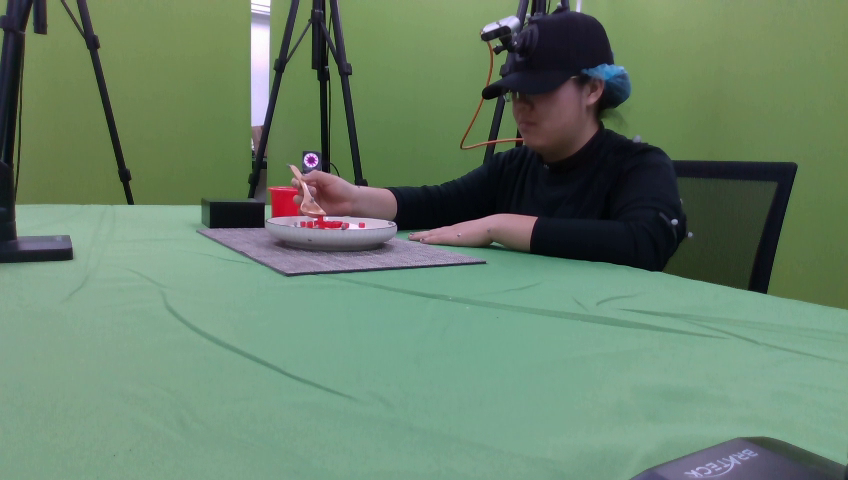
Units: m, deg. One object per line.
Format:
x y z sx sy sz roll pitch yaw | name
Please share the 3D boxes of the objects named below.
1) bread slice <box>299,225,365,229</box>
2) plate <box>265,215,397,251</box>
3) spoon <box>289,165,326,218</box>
-0.154 -0.012 0.973 0.132 0.019 0.104 -1 7 -31 | bread slice
-0.147 -0.012 0.963 0.209 0.038 0.209 3 7 0 | plate
-0.205 -0.087 1.034 0.042 0.021 0.193 3 33 -27 | spoon
